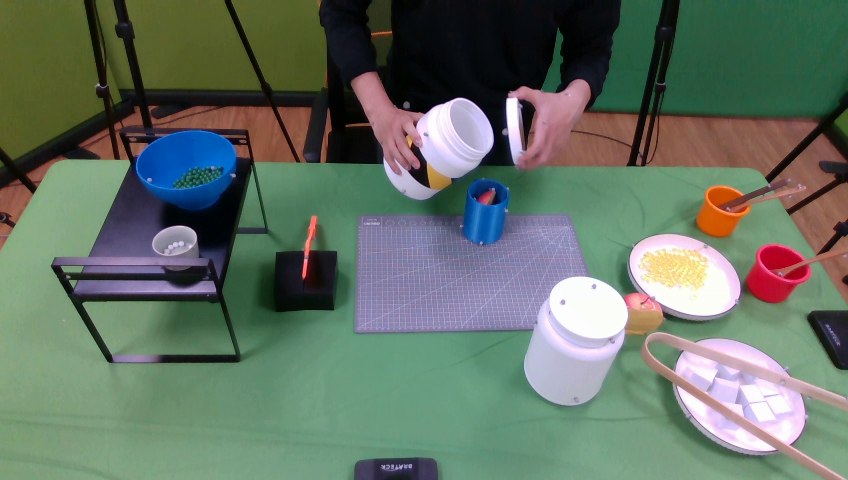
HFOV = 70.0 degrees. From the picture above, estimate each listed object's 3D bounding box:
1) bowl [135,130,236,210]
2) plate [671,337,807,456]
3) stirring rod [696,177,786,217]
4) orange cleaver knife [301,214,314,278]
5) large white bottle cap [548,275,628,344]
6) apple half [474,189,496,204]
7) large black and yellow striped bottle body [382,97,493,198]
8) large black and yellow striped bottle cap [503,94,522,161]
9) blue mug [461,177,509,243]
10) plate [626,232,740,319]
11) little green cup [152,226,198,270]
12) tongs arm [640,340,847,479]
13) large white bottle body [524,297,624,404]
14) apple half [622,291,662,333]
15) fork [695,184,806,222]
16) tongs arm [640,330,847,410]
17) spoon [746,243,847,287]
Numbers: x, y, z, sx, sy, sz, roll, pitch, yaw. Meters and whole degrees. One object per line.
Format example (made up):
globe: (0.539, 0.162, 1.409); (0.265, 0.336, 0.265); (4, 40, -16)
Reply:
bowl: (-0.375, -0.102, 0.978); (0.151, 0.077, 0.150); (2, 46, -2)
plate: (0.504, 0.254, 0.984); (0.208, 0.039, 0.206); (2, 46, -2)
stirring rod: (0.648, -0.087, 1.244); (0.176, 0.006, 0.014); (-25, 50, 29)
orange cleaver knife: (-0.218, 0.008, 1.131); (0.012, 0.077, 0.210); (7, 19, -9)
large white bottle cap: (0.240, 0.100, 0.890); (0.115, 0.018, 0.114); (3, 47, -3)
apple half: (0.109, -0.067, 1.200); (0.032, 0.081, 0.081); (28, 50, 13)
large black and yellow striped bottle body: (0.024, -0.169, 1.110); (0.131, 0.184, 0.130); (20, 57, -34)
large black and yellow striped bottle cap: (0.153, -0.194, 1.045); (0.019, 0.115, 0.114); (-6, 45, 14)
blue mug: (0.114, -0.070, 1.210); (0.082, 0.106, 0.115); (-12, 48, -15)
plate: (0.489, 0.070, 1.157); (0.209, 0.038, 0.208); (3, 46, -3)
little green cup: (-0.364, 0.013, 0.894); (0.061, 0.039, 0.061); (3, 46, -3)
tongs arm: (0.500, 0.277, 0.919); (0.386, 0.028, 0.028); (34, 59, 22)
large white bottle body: (0.235, 0.159, 0.952); (0.131, 0.185, 0.130); (2, 47, -2)
apple half: (0.372, 0.124, 1.073); (0.081, 0.075, 0.053); (0, 42, 1)
fork: (0.658, -0.074, 1.229); (0.207, 0.019, 0.028); (-24, 34, 36)
tongs arm: (0.543, 0.225, 0.969); (0.384, 0.026, 0.050); (22, 52, 13)
spoon: (0.702, 0.043, 1.126); (0.194, 0.022, 0.041); (-29, 38, 30)
